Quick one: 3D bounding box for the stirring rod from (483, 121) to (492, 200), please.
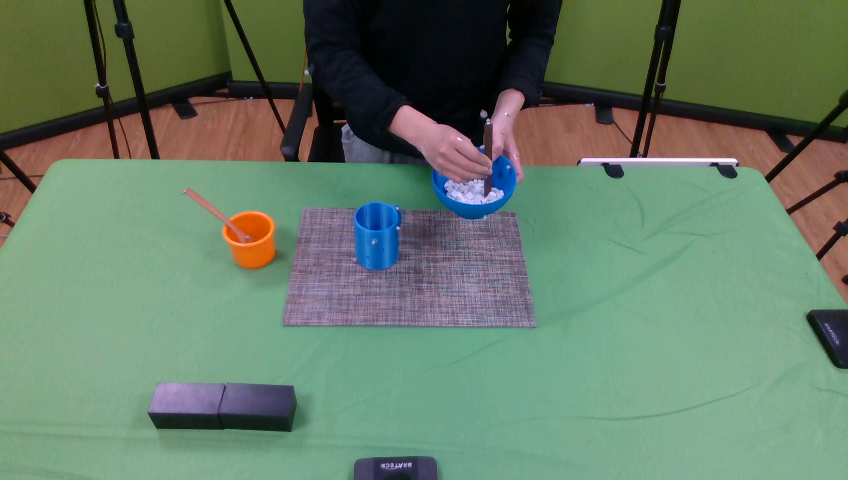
[{"bbox_3d":[0.106,-0.128,1.017,0.014,0.177,0.006,1,50,6],"label":"stirring rod"}]

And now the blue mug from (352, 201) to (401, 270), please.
[{"bbox_3d":[-0.082,-0.017,1.144,0.082,0.106,0.116,30,51,22],"label":"blue mug"}]

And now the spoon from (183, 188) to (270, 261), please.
[{"bbox_3d":[-0.360,-0.029,1.110,0.021,0.194,0.041,-21,31,41],"label":"spoon"}]

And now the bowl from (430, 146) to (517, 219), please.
[{"bbox_3d":[0.086,-0.090,1.080,0.151,0.077,0.150,0,49,0],"label":"bowl"}]
